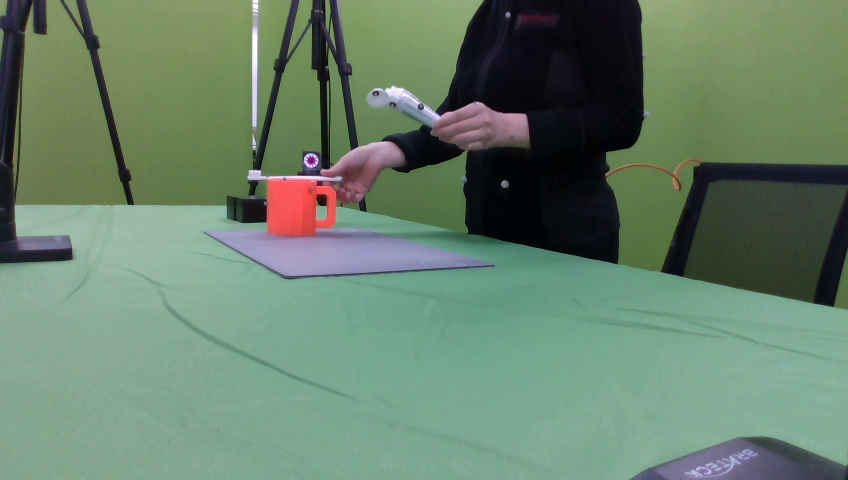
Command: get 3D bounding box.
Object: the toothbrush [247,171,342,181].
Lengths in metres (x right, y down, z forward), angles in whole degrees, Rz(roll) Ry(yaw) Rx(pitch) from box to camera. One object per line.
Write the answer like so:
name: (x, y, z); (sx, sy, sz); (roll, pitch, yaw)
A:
toothbrush: (-0.230, -0.115, 1.092); (0.183, 0.016, 0.014); (-3, 11, -36)

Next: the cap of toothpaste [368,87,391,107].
cap of toothpaste: (-0.067, -0.218, 0.914); (0.037, 0.011, 0.037); (-9, -35, -6)

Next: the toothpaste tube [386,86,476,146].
toothpaste tube: (0.009, -0.195, 0.958); (0.166, 0.034, 0.055); (26, 19, -19)

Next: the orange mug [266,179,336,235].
orange mug: (-0.222, -0.062, 1.094); (0.127, 0.101, 0.083); (-5, 10, -22)
